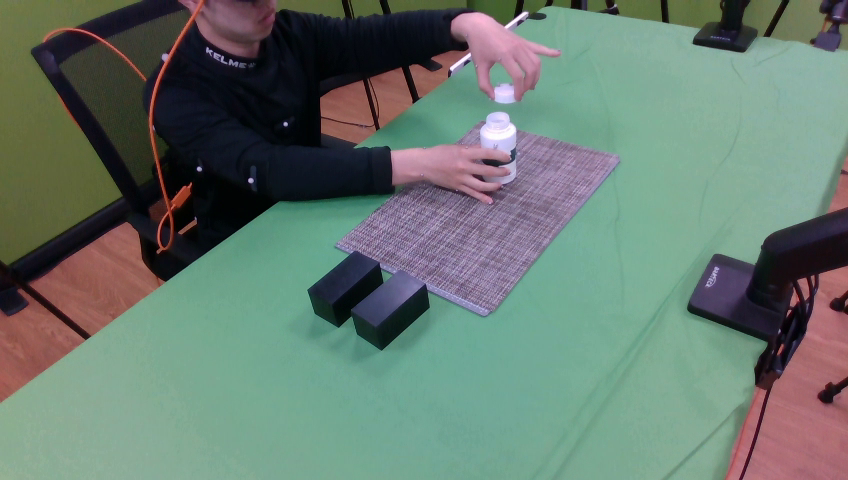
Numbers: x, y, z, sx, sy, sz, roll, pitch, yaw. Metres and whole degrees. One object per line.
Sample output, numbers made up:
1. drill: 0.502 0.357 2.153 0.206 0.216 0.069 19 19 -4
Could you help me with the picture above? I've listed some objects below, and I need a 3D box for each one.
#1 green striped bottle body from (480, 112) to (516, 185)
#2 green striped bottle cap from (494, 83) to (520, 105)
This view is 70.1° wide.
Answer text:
1. green striped bottle body: 0.130 -0.162 1.057 0.063 0.120 0.063 -4 40 4
2. green striped bottle cap: 0.140 -0.247 1.022 0.044 0.020 0.044 -5 45 5
